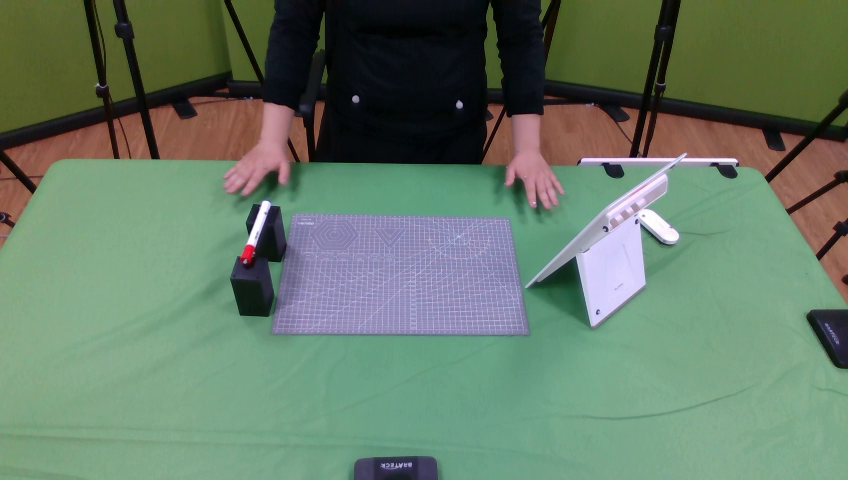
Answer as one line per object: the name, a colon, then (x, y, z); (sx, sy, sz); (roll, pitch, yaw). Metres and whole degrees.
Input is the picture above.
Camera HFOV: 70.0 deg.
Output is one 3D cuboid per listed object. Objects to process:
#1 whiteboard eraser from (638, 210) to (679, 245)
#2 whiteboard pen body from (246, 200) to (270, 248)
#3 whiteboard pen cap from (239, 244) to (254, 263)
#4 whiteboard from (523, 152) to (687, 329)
whiteboard eraser: (0.485, -0.027, 1.260); (0.041, 0.019, 0.100); (-21, 50, -21)
whiteboard pen body: (-0.293, -0.020, 1.059); (0.017, 0.017, 0.139); (5, 46, 0)
whiteboard pen cap: (-0.298, 0.022, 1.016); (0.017, 0.017, 0.032); (6, 45, 2)
whiteboard: (0.346, 0.024, 1.047); (0.217, 0.306, 0.143); (-30, 74, -29)
